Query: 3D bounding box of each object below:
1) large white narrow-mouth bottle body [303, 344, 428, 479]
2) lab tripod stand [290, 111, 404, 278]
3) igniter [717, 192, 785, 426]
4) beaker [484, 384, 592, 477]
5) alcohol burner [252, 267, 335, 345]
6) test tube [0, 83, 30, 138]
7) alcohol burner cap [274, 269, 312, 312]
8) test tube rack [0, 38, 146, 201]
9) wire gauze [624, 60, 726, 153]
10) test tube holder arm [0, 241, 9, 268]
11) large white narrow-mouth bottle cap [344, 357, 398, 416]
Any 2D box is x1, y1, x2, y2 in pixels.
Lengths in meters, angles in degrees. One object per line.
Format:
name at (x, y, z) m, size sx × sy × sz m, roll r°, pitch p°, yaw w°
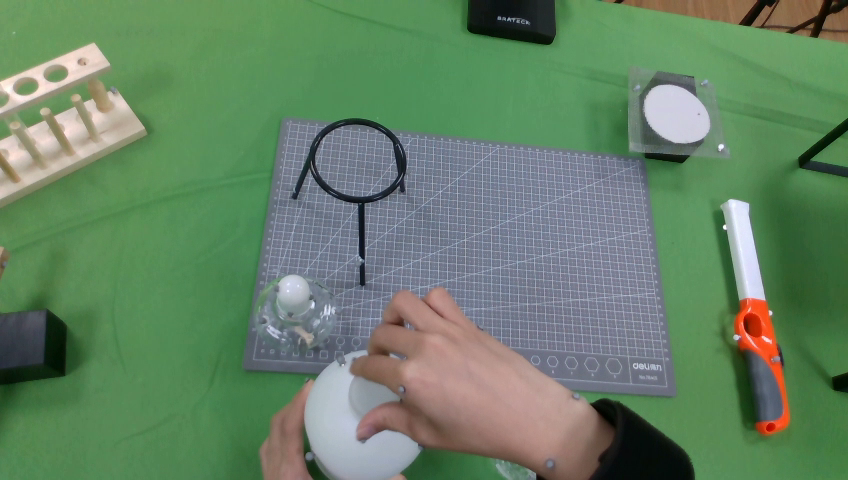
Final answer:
large white narrow-mouth bottle body at (-0.048, 0.141, 0.499) m, size 0.102 × 0.195 × 0.101 m, roll 3°, pitch 65°, yaw -7°
lab tripod stand at (-0.070, -0.051, 0.610) m, size 0.149 × 0.132 × 0.147 m, roll 4°, pitch 66°, yaw -9°
igniter at (0.371, 0.071, 0.691) m, size 0.057 × 0.025 × 0.274 m, roll 11°, pitch 65°, yaw -16°
beaker at (0.097, 0.178, 0.560) m, size 0.084 × 0.101 × 0.073 m, roll 32°, pitch 65°, yaw 6°
alcohol burner at (-0.122, 0.056, 0.565) m, size 0.078 × 0.119 × 0.077 m, roll 5°, pitch 64°, yaw -9°
test tube at (-0.407, -0.146, 0.570) m, size 0.017 × 0.151 × 0.017 m, roll 5°, pitch 61°, yaw -8°
alcohol burner cap at (-0.116, 0.043, 0.532) m, size 0.034 × 0.048 × 0.033 m, roll 2°, pitch 71°, yaw -7°
test tube rack at (-0.418, -0.102, 0.603) m, size 0.242 × 0.085 × 0.066 m, roll -34°, pitch 75°, yaw -21°
wire gauze at (0.303, -0.162, 0.740) m, size 0.122 × 0.011 × 0.124 m, roll 7°, pitch 66°, yaw -6°
test tube holder arm at (-0.386, 0.042, 0.530) m, size 0.010 × 0.015 × 0.087 m, roll 8°, pitch 64°, yaw -6°
large white narrow-mouth bottle cap at (-0.036, 0.099, 0.412) m, size 0.038 × 0.024 × 0.037 m, roll 3°, pitch 66°, yaw -7°
